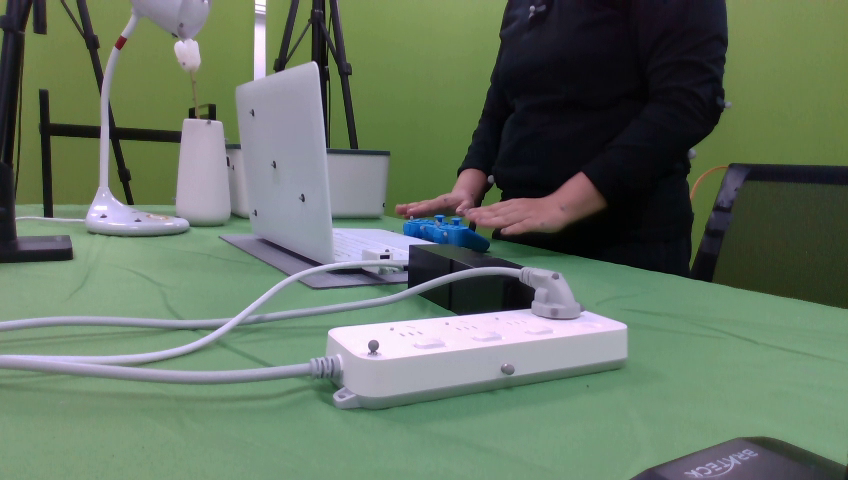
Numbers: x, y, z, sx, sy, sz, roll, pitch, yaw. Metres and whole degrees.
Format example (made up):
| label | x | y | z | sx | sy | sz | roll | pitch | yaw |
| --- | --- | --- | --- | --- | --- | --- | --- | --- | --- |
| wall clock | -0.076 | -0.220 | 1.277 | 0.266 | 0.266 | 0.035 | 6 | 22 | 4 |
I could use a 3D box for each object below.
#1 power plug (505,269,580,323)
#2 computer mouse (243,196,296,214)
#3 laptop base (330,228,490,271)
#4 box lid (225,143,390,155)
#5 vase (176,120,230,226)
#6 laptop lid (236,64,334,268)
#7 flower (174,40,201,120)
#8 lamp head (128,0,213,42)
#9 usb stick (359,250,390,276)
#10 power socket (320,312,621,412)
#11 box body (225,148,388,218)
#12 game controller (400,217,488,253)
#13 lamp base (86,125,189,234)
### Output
| label | x | y | z | sx | sy | sz | roll | pitch | yaw |
| --- | --- | --- | --- | --- | --- | --- | --- | --- | --- |
| power plug | 0.092 | 0.051 | 0.470 | 0.035 | 0.052 | 0.072 | 0 | 6 | -16 |
| computer mouse | -0.362 | -0.082 | 1.416 | 0.117 | 0.041 | 0.063 | -3 | 10 | 5 |
| laptop base | -0.095 | 0.011 | 0.912 | 0.237 | 0.023 | 0.352 | 2 | 6 | -32 |
| box lid | -0.296 | -0.217 | 1.463 | 0.373 | 0.015 | 0.262 | -2 | 8 | -29 |
| vase | -0.425 | -0.128 | 1.159 | 0.098 | 0.200 | 0.098 | 2 | 9 | 0 |
| laptop lid | -0.202 | -0.103 | 0.828 | 0.013 | 0.241 | 0.355 | -9 | 14 | -30 |
| flower | -0.430 | -0.211 | 1.166 | 0.044 | 0.361 | 0.038 | -10 | -5 | -24 |
| lamp head | -0.423 | -0.394 | 0.980 | 0.123 | 0.112 | 0.112 | 20 | 7 | -3 |
| usb stick | -0.061 | 0.026 | 0.708 | 0.021 | 0.027 | 0.059 | -3 | 4 | -29 |
| power socket | 0.038 | 0.075 | 0.409 | 0.228 | 0.032 | 0.072 | -2 | 8 | -29 |
| box body | -0.298 | -0.143 | 1.474 | 0.366 | 0.160 | 0.253 | -1 | 9 | -29 |
| game controller | 0.029 | -0.011 | 1.027 | 0.097 | 0.051 | 0.154 | -4 | 9 | -34 |
| lamp base | -0.497 | -0.105 | 1.027 | 0.179 | 0.180 | 0.160 | 1 | 7 | 3 |
